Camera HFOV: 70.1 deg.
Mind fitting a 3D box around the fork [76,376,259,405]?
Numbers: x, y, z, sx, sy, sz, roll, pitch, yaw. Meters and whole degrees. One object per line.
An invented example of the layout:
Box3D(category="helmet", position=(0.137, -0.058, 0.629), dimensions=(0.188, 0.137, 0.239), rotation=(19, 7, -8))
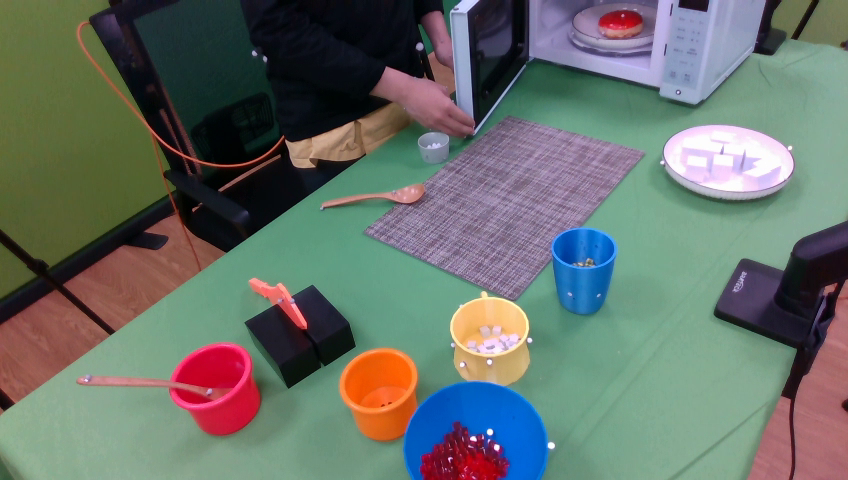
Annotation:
Box3D(category="fork", position=(-0.295, 0.176, 0.716), dimensions=(0.209, 0.018, 0.028), rotation=(19, 27, -36))

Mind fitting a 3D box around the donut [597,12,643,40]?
Box3D(category="donut", position=(0.436, -0.478, 1.346), dimensions=(0.099, 0.048, 0.098), rotation=(-6, 34, 5))

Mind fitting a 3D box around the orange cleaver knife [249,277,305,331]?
Box3D(category="orange cleaver knife", position=(-0.210, 0.088, 0.856), dimensions=(0.012, 0.077, 0.210), rotation=(-28, 15, -25))

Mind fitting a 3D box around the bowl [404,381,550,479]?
Box3D(category="bowl", position=(0.058, 0.235, 0.645), dimensions=(0.151, 0.077, 0.150), rotation=(-4, 39, 4))

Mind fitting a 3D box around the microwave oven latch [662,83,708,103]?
Box3D(category="microwave oven latch", position=(0.518, -0.296, 1.204), dimensions=(0.078, 0.029, 0.030), rotation=(28, 52, 35))

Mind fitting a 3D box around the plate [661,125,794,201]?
Box3D(category="plate", position=(0.513, -0.128, 1.035), dimensions=(0.207, 0.039, 0.206), rotation=(-4, 40, 4))

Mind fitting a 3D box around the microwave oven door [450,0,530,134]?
Box3D(category="microwave oven door", position=(0.145, -0.412, 1.241), dimensions=(0.039, 0.245, 0.356), rotation=(13, 44, 23))

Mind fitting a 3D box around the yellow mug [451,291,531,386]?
Box3D(category="yellow mug", position=(0.085, 0.120, 0.786), dimensions=(0.100, 0.064, 0.130), rotation=(-7, 39, 1))

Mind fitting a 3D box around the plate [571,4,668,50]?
Box3D(category="plate", position=(0.435, -0.475, 1.358), dimensions=(0.209, 0.038, 0.208), rotation=(-5, 40, 4))

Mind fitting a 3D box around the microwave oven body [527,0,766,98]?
Box3D(category="microwave oven body", position=(0.472, -0.513, 1.317), dimensions=(0.438, 0.261, 0.327), rotation=(26, 51, 34))

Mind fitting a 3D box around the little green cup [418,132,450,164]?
Box3D(category="little green cup", position=(0.019, -0.177, 1.168), dimensions=(0.061, 0.039, 0.061), rotation=(-2, 42, 2))

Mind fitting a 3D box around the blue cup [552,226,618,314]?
Box3D(category="blue cup", position=(0.218, 0.047, 0.826), dimensions=(0.092, 0.100, 0.092), rotation=(-6, 40, 5))

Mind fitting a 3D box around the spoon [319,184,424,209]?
Box3D(category="spoon", position=(-0.094, -0.076, 1.074), dimensions=(0.193, 0.022, 0.041), rotation=(-5, 56, 5))
